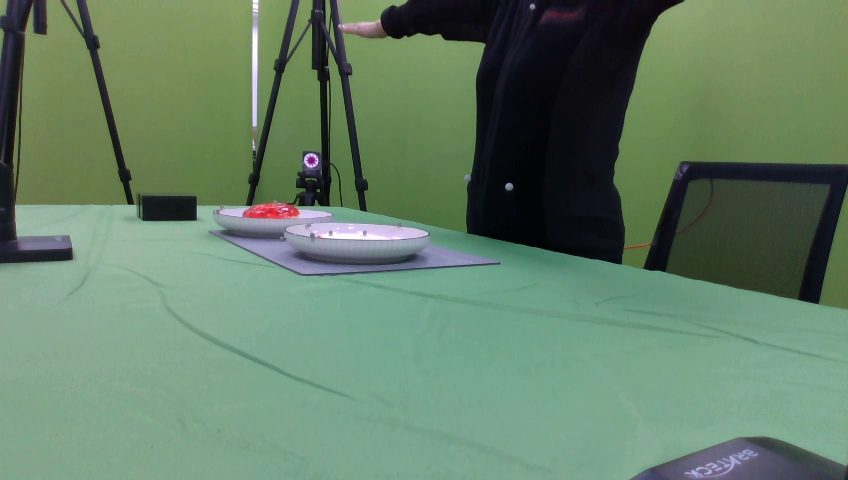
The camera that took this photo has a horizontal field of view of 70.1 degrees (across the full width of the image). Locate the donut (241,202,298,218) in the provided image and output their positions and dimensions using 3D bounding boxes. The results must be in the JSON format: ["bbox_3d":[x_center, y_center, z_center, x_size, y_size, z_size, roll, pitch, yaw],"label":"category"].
[{"bbox_3d":[-0.270,-0.040,1.057,0.099,0.048,0.099,0,11,0],"label":"donut"}]

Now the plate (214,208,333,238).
[{"bbox_3d":[-0.268,-0.032,1.085,0.208,0.039,0.207,2,7,0],"label":"plate"}]

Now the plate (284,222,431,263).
[{"bbox_3d":[-0.094,0.003,0.868,0.209,0.038,0.209,2,7,0],"label":"plate"}]

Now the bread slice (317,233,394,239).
[{"bbox_3d":[-0.096,0.004,0.863,0.107,0.018,0.133,-1,7,-30],"label":"bread slice"}]
